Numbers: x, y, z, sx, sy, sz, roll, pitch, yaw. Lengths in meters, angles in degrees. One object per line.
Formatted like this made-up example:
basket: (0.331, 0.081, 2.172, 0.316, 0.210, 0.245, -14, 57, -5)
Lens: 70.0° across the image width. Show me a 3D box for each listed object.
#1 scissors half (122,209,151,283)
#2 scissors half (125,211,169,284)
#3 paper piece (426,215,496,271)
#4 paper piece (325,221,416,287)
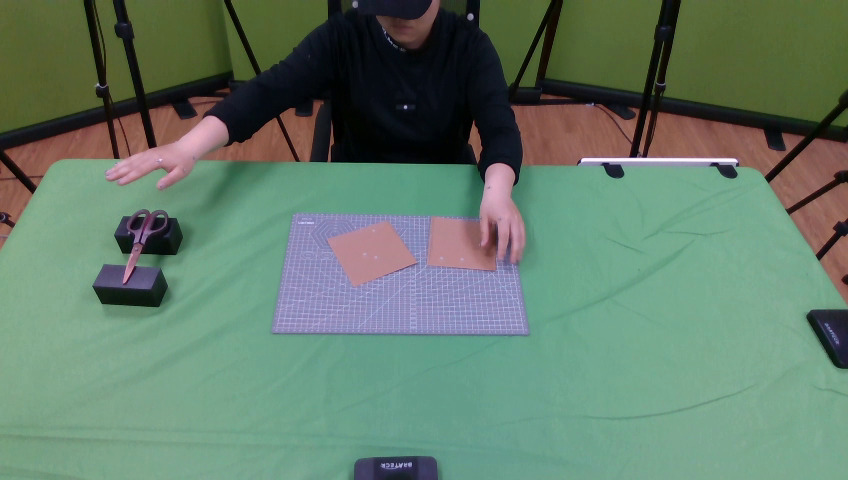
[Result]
scissors half: (-0.520, 0.008, 1.085, 0.040, 0.013, 0.174, 1, 48, -15)
scissors half: (-0.501, 0.010, 1.088, 0.040, 0.013, 0.174, 9, 47, 0)
paper piece: (0.074, 0.006, 1.204, 0.138, 0.009, 0.135, 6, 49, 1)
paper piece: (-0.105, 0.022, 1.174, 0.135, 0.004, 0.135, -19, 50, -21)
